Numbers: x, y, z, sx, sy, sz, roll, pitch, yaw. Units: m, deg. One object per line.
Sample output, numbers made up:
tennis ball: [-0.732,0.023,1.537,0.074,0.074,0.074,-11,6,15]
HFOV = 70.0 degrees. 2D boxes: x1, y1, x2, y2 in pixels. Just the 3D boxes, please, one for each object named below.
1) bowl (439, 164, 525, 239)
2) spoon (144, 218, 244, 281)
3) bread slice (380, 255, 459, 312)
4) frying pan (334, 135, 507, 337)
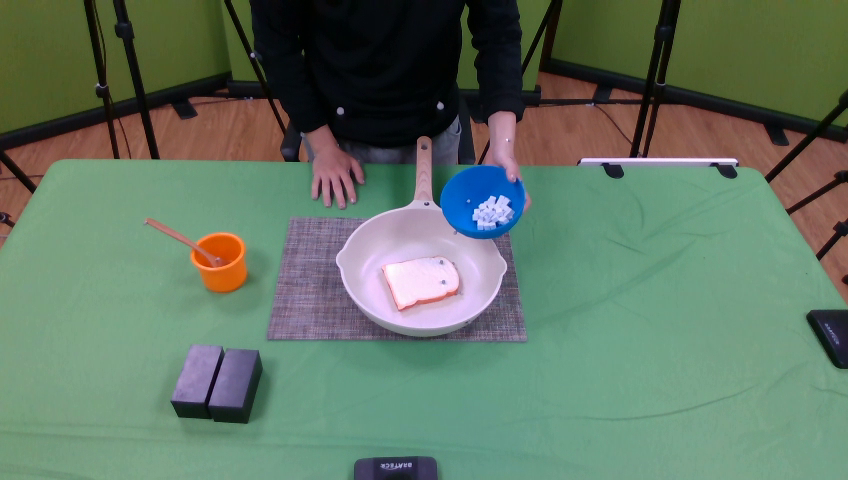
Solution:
bowl: [0.105,-0.053,1.080,0.151,0.077,0.150,-5,55,7]
spoon: [-0.401,0.015,1.064,0.195,0.021,0.041,41,38,-29]
bread slice: [-0.005,0.074,1.119,0.134,0.018,0.106,-16,50,-16]
frying pan: [-0.004,-0.026,1.160,0.307,0.103,0.485,4,55,-2]
